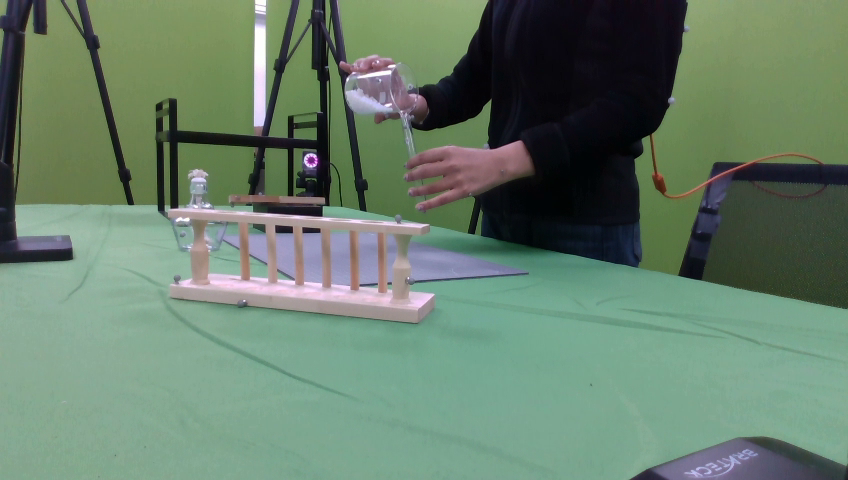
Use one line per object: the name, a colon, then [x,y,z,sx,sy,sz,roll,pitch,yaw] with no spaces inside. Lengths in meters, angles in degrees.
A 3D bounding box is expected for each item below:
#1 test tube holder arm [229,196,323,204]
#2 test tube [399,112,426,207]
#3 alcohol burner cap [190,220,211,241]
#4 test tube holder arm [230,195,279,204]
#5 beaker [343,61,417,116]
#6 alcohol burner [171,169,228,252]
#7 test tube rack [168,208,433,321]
test tube holder arm: [-0.276,-0.076,1.144,0.179,0.015,0.013,-2,1,-33]
test tube: [-0.017,-0.125,0.942,0.017,0.150,0.017,-11,0,0]
alcohol burner cap: [-0.365,-0.023,0.988,0.034,0.048,0.034,1,7,0]
test tube holder arm: [-0.311,-0.075,1.115,0.088,0.015,0.010,-2,1,-32]
beaker: [-0.072,-0.236,0.963,0.100,0.084,0.074,3,11,35]
alcohol burner: [-0.325,-0.043,0.875,0.078,0.119,0.078,0,6,0]
test tube rack: [-0.115,0.017,0.574,0.242,0.085,0.067,4,8,13]
